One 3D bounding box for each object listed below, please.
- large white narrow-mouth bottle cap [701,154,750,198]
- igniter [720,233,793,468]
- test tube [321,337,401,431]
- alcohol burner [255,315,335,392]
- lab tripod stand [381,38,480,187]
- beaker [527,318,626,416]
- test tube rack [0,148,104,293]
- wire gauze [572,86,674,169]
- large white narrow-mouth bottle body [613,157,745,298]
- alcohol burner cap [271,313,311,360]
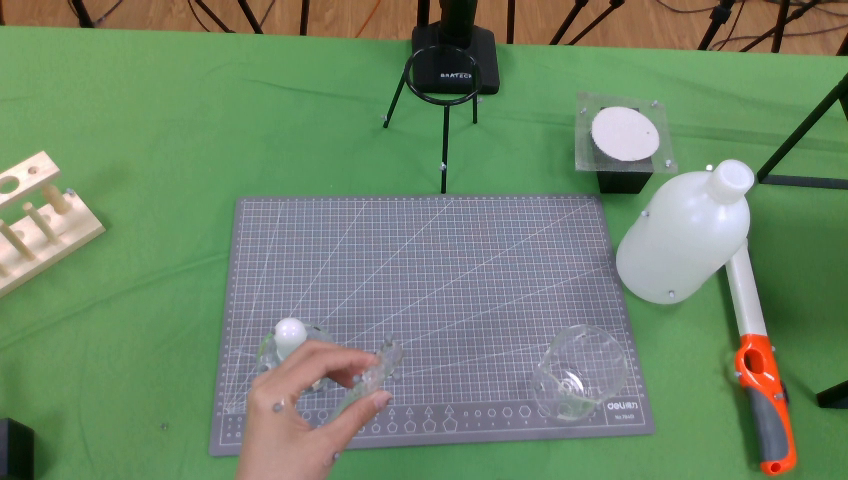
[{"bbox_3d":[0.283,-0.061,0.571,0.038,0.024,0.037,2,61,-3],"label":"large white narrow-mouth bottle cap"},{"bbox_3d":[0.365,0.111,0.678,0.057,0.025,0.274,10,60,-11],"label":"igniter"},{"bbox_3d":[-0.049,0.107,0.431,0.017,0.151,0.017,13,52,-17],"label":"test tube"},{"bbox_3d":[-0.126,0.103,0.585,0.078,0.120,0.077,3,60,-5],"label":"alcohol burner"},{"bbox_3d":[0.016,-0.160,0.733,0.148,0.132,0.147,3,62,-5],"label":"lab tripod stand"},{"bbox_3d":[0.144,0.131,0.602,0.084,0.101,0.073,-4,61,-6],"label":"beaker"},{"bbox_3d":[-0.471,0.014,0.620,0.242,0.086,0.066,-39,71,-23],"label":"test tube rack"},{"bbox_3d":[0.245,-0.140,0.758,0.121,0.011,0.124,6,61,-2],"label":"wire gauze"},{"bbox_3d":[0.278,-0.018,0.644,0.102,0.196,0.101,2,61,-3],"label":"large white narrow-mouth bottle body"},{"bbox_3d":[-0.123,0.086,0.553,0.034,0.048,0.033,1,56,-1],"label":"alcohol burner cap"}]
